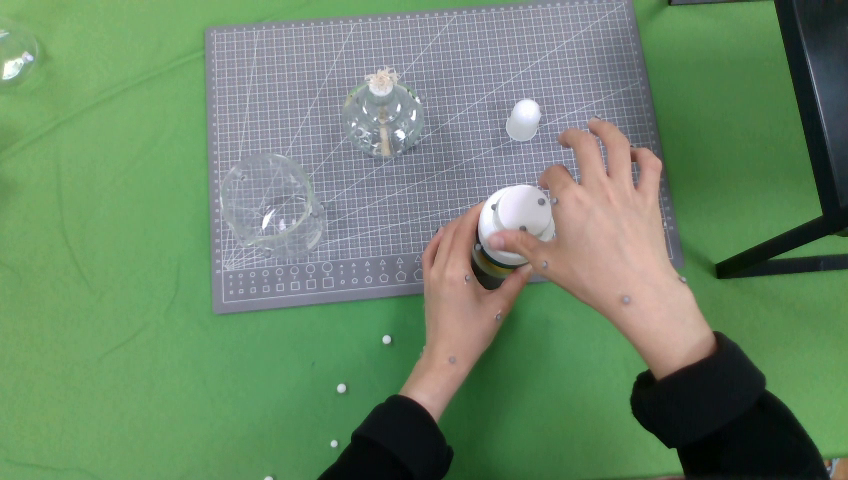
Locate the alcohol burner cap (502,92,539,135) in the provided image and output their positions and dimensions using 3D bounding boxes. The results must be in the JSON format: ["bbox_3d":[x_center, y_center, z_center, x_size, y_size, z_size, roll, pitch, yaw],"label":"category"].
[{"bbox_3d":[0.096,-0.127,0.594,0.034,0.048,0.033,0,77,-1],"label":"alcohol burner cap"}]

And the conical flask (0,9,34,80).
[{"bbox_3d":[-0.432,-0.207,0.560,0.075,0.122,0.075,0,77,-1],"label":"conical flask"}]

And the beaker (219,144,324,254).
[{"bbox_3d":[-0.131,-0.028,0.538,0.074,0.100,0.083,22,78,5],"label":"beaker"}]

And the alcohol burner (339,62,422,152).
[{"bbox_3d":[-0.040,-0.127,0.554,0.078,0.119,0.077,1,76,-3],"label":"alcohol burner"}]

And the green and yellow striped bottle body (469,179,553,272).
[{"bbox_3d":[0.075,-0.013,0.528,0.063,0.120,0.063,0,77,-1],"label":"green and yellow striped bottle body"}]

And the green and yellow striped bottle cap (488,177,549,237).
[{"bbox_3d":[0.074,-0.026,0.472,0.045,0.020,0.045,2,78,-8],"label":"green and yellow striped bottle cap"}]
